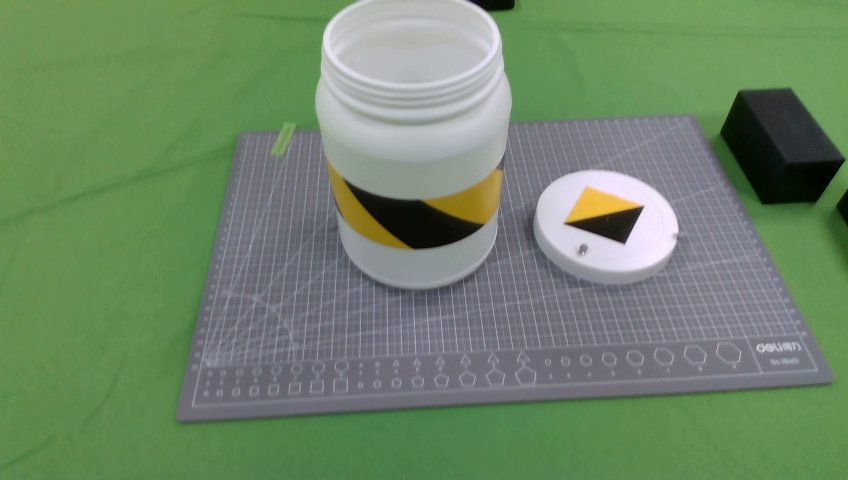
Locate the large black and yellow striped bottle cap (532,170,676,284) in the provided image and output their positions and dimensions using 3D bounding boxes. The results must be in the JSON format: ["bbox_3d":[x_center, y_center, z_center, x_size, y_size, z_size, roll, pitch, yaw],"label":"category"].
[{"bbox_3d":[0.148,-0.014,0.501,0.115,0.019,0.114,0,49,0],"label":"large black and yellow striped bottle cap"}]

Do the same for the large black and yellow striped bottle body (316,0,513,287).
[{"bbox_3d":[-0.006,-0.068,0.435,0.131,0.185,0.129,0,50,0],"label":"large black and yellow striped bottle body"}]
